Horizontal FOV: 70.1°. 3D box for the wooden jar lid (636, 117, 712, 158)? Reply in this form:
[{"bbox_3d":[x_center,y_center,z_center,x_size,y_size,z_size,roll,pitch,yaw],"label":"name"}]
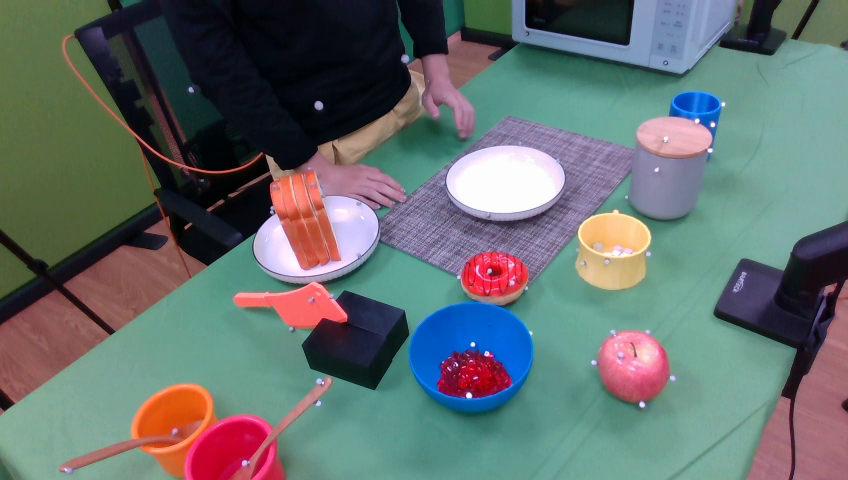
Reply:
[{"bbox_3d":[0.377,-0.151,0.917,0.108,0.021,0.108,-2,41,3],"label":"wooden jar lid"}]

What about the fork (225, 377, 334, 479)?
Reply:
[{"bbox_3d":[-0.163,0.216,0.646,0.207,0.019,0.028,-49,42,16],"label":"fork"}]

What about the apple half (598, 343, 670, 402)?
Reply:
[{"bbox_3d":[0.247,0.161,0.710,0.081,0.075,0.053,2,47,5],"label":"apple half"}]

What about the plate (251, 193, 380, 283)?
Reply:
[{"bbox_3d":[-0.173,-0.001,0.984,0.209,0.038,0.208,-4,41,4],"label":"plate"}]

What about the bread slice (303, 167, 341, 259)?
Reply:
[{"bbox_3d":[-0.161,-0.046,0.952,0.018,0.135,0.106,-18,45,-7],"label":"bread slice"}]

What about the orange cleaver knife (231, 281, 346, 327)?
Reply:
[{"bbox_3d":[-0.192,0.093,0.844,0.210,0.077,0.012,-7,31,38],"label":"orange cleaver knife"}]

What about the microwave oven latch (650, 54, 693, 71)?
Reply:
[{"bbox_3d":[0.531,-0.386,1.301,0.078,0.029,0.030,26,51,33],"label":"microwave oven latch"}]

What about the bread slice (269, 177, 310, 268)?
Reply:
[{"bbox_3d":[-0.211,-0.034,0.946,0.019,0.132,0.104,-19,39,-3],"label":"bread slice"}]

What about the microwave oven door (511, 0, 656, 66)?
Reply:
[{"bbox_3d":[0.351,-0.540,1.349,0.353,0.245,0.039,24,50,31],"label":"microwave oven door"}]

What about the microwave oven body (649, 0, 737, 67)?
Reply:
[{"bbox_3d":[0.475,-0.602,1.411,0.438,0.261,0.327,23,50,32],"label":"microwave oven body"}]

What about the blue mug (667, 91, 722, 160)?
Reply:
[{"bbox_3d":[0.474,-0.207,1.079,0.082,0.106,0.116,4,42,13],"label":"blue mug"}]

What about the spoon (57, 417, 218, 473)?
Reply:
[{"bbox_3d":[-0.304,0.221,0.661,0.041,0.195,0.021,19,92,27],"label":"spoon"}]

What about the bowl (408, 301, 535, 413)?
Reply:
[{"bbox_3d":[0.060,0.156,0.739,0.151,0.077,0.150,-4,40,4],"label":"bowl"}]

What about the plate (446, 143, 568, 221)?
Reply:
[{"bbox_3d":[0.142,-0.097,1.045,0.207,0.039,0.206,-4,40,4],"label":"plate"}]

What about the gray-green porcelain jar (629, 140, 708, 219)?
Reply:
[{"bbox_3d":[0.383,-0.105,0.958,0.106,0.127,0.105,-4,41,4],"label":"gray-green porcelain jar"}]

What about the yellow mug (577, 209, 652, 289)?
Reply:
[{"bbox_3d":[0.279,0.004,0.893,0.099,0.064,0.130,5,41,15],"label":"yellow mug"}]

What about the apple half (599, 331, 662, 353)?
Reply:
[{"bbox_3d":[0.249,0.134,0.738,0.081,0.081,0.032,-2,46,7],"label":"apple half"}]

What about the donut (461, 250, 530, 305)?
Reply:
[{"bbox_3d":[0.103,0.053,0.872,0.099,0.048,0.098,-5,40,4],"label":"donut"}]
